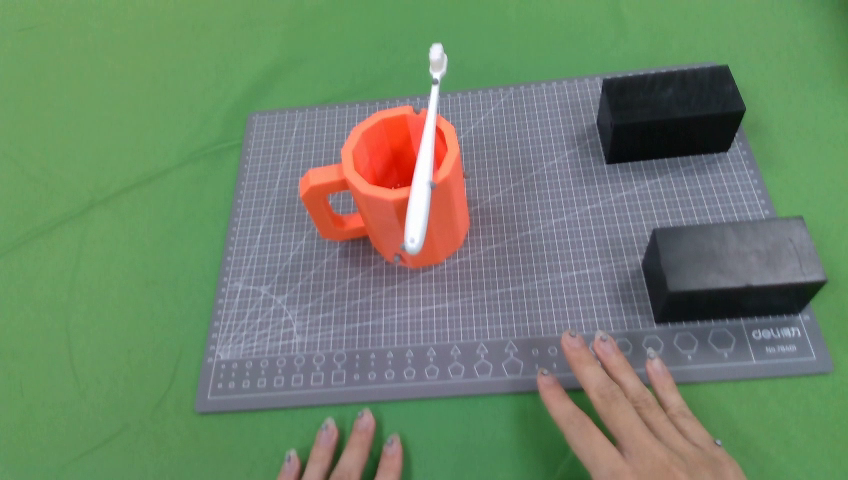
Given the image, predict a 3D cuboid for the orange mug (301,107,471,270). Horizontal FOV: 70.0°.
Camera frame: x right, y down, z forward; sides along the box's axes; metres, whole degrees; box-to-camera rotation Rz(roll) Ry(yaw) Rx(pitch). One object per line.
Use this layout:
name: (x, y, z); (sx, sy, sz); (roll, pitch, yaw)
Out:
orange mug: (-0.027, -0.035, 0.469); (0.126, 0.102, 0.082); (-10, 57, -2)

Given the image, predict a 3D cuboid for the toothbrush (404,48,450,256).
toothbrush: (0.003, -0.069, 0.424); (0.014, 0.017, 0.180); (4, 59, 6)
